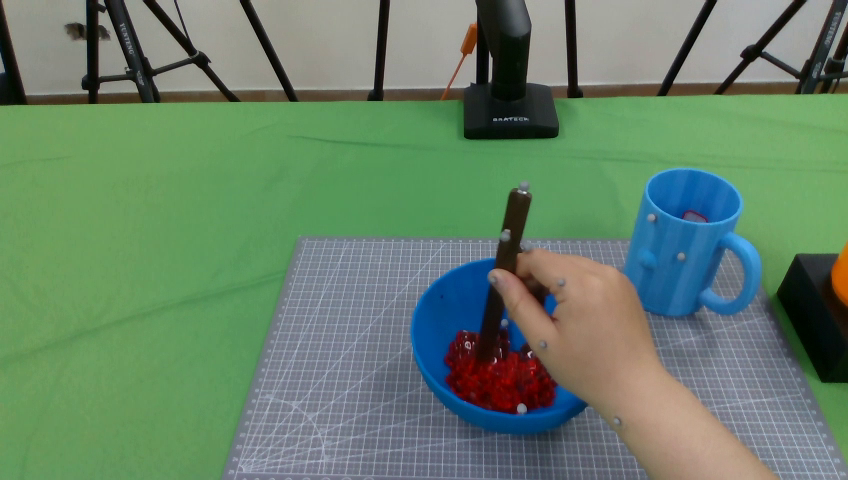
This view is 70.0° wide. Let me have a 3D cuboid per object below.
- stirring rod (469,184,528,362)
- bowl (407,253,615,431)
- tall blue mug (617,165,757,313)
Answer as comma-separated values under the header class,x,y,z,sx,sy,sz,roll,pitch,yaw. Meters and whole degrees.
class,x,y,z,sx,sy,sz,roll,pitch,yaw
stirring rod,0.047,0.031,0.404,0.014,0.177,0.006,16,47,10
bowl,0.063,0.088,0.465,0.151,0.077,0.150,-1,43,1
tall blue mug,0.231,0.005,0.524,0.106,0.109,0.077,20,47,23
